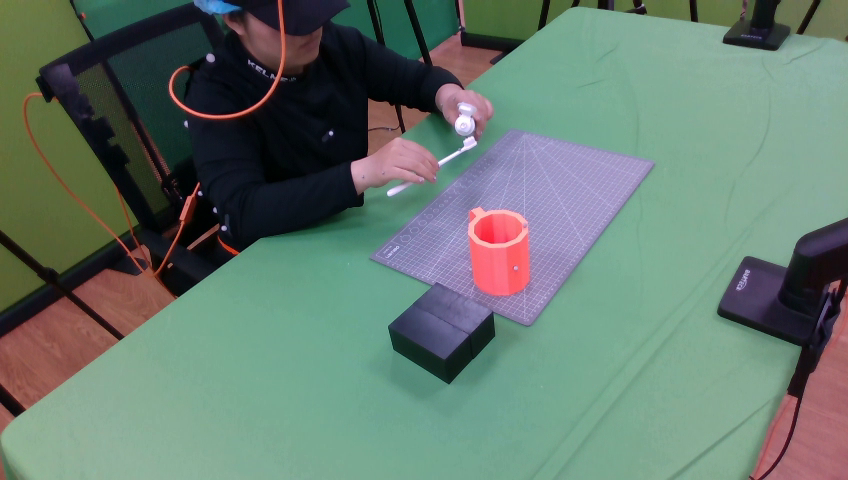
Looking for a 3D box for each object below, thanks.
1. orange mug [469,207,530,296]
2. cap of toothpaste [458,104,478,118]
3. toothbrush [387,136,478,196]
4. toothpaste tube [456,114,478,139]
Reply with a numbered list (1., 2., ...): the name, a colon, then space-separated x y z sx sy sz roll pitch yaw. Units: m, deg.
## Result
1. orange mug: 0.104 0.008 0.894 0.084 0.101 0.125 -22 46 -14
2. cap of toothpaste: 0.073 -0.218 1.022 0.037 0.037 0.011 18 85 29
3. toothbrush: 0.015 -0.123 1.008 0.182 0.017 0.014 -33 44 -14
4. toothpaste tube: 0.084 -0.213 1.112 0.034 0.055 0.165 -2 9 12
